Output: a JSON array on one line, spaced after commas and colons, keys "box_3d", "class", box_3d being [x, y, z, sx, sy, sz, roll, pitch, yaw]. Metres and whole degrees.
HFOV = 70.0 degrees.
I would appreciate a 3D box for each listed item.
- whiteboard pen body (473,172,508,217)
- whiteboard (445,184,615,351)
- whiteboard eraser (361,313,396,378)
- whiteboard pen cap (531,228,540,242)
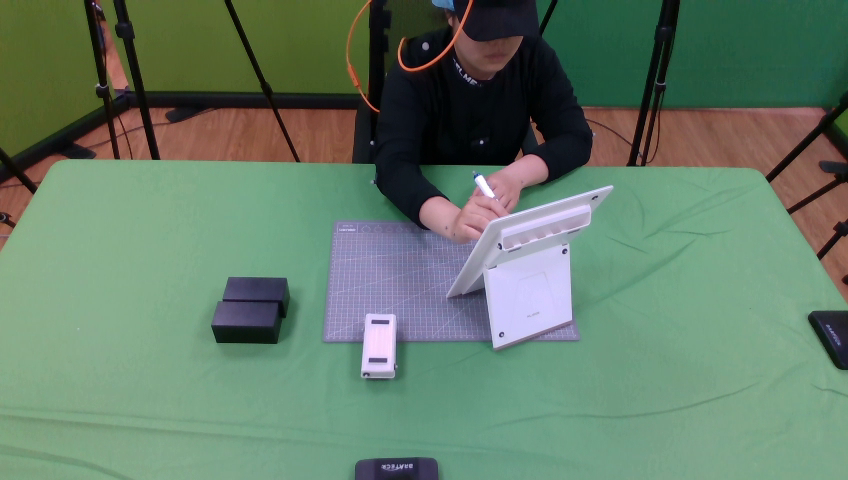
[{"box_3d": [0.124, -0.055, 1.011, 0.017, 0.017, 0.140, -24, 72, -24], "class": "whiteboard pen body"}, {"box_3d": [0.187, 0.066, 0.989, 0.217, 0.306, 0.143, -15, 68, -18], "class": "whiteboard"}, {"box_3d": [-0.075, 0.176, 1.006, 0.055, 0.042, 0.112, 3, 50, -4], "class": "whiteboard eraser"}, {"box_3d": [0.225, -0.011, 1.221, 0.018, 0.018, 0.033, 12, 29, 8], "class": "whiteboard pen cap"}]
